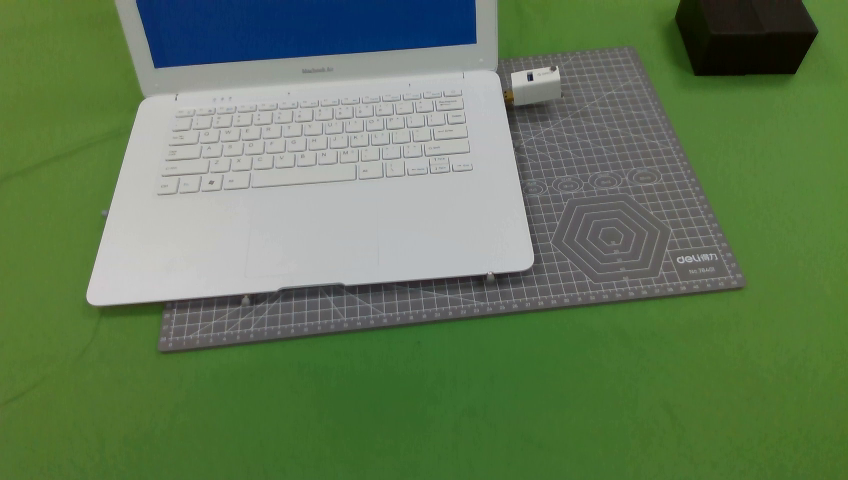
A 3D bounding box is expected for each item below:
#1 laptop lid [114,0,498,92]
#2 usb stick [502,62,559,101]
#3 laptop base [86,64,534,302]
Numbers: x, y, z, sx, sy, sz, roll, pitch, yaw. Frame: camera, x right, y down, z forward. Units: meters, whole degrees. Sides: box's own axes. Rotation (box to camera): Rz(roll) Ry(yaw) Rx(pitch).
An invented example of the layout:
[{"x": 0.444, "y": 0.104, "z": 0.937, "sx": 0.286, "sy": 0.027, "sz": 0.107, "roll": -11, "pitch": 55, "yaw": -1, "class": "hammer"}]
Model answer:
[{"x": -0.111, "y": -0.256, "z": 0.545, "sx": 0.357, "sy": 0.243, "sz": 0.013, "roll": -6, "pitch": 30, "yaw": 0, "class": "laptop lid"}, {"x": 0.096, "y": -0.148, "z": 0.570, "sx": 0.059, "sy": 0.027, "sz": 0.021, "roll": -8, "pitch": 56, "yaw": 11, "class": "usb stick"}, {"x": -0.096, "y": -0.059, "z": 0.537, "sx": 0.354, "sy": 0.023, "sz": 0.233, "roll": -5, "pitch": 58, "yaw": 0, "class": "laptop base"}]
